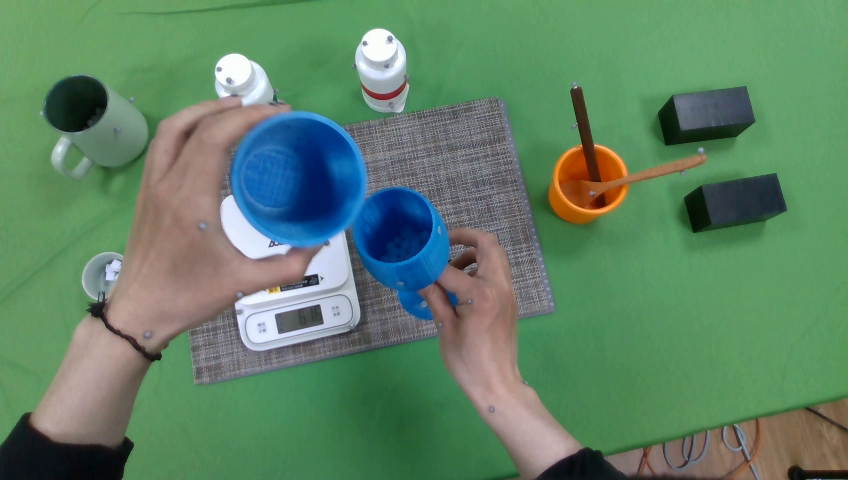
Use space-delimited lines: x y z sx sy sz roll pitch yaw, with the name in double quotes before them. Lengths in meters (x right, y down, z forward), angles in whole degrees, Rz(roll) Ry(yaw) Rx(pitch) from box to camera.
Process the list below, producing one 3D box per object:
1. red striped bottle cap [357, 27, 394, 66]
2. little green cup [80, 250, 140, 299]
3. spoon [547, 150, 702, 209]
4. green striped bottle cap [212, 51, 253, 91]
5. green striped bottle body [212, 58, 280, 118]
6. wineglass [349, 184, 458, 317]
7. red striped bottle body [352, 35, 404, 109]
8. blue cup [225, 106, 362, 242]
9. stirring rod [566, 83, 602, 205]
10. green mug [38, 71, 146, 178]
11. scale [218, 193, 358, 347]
"red striped bottle cap" -0.058 -0.231 0.722 0.044 0.018 0.044 0 75 0
"little green cup" -0.387 0.045 0.753 0.061 0.039 0.061 0 77 -1
"spoon" 0.236 -0.075 0.733 0.022 0.193 0.041 -8 85 -46
"green striped bottle cap" -0.224 -0.198 0.709 0.044 0.020 0.044 0 78 1
"green striped bottle body" -0.225 -0.185 0.764 0.063 0.119 0.063 0 78 -1
"wineglass" -0.011 0.016 0.514 0.073 0.173 0.073 -3 71 8
"red striped bottle body" -0.058 -0.220 0.774 0.063 0.120 0.062 0 77 -1
"blue cup" -0.099 -0.045 0.423 0.093 0.099 0.093 -3 96 -24
"stirring rod" 0.197 -0.112 0.738 0.014 0.178 0.006 -1 43 29
"green mug" -0.421 -0.136 0.758 0.092 0.105 0.125 23 78 4
"scale" -0.172 0.024 0.761 0.149 0.031 0.200 -12 79 -3
